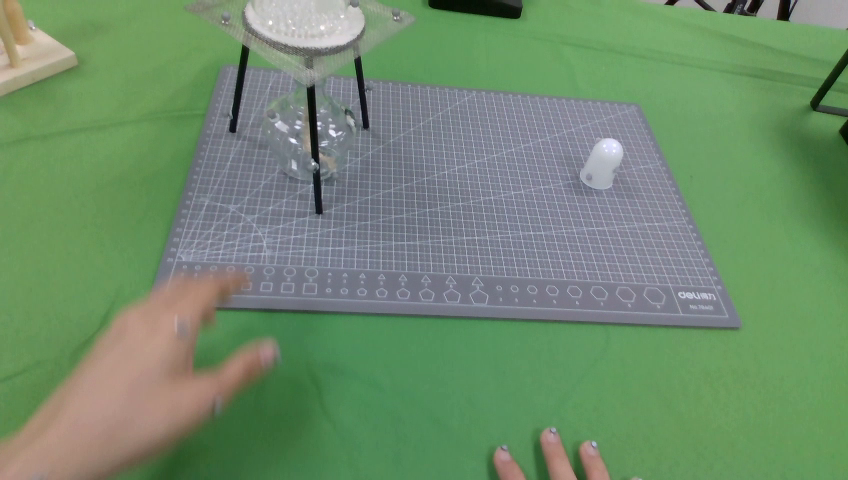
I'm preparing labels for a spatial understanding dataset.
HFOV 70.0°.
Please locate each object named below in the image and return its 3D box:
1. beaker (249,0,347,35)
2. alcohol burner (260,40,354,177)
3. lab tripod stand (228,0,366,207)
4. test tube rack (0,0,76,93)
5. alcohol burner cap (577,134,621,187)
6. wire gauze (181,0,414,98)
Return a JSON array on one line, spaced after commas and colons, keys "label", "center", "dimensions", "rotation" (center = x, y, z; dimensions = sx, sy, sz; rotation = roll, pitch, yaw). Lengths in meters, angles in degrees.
[{"label": "beaker", "center": [-0.087, -0.198, 0.408], "dimensions": [0.073, 0.101, 0.084], "rotation": [34, 53, 18]}, {"label": "alcohol burner", "center": [-0.095, -0.111, 0.497], "dimensions": [0.078, 0.120, 0.077], "rotation": [7, 47, -7]}, {"label": "lab tripod stand", "center": [-0.096, -0.122, 0.494], "dimensions": [0.149, 0.132, 0.147], "rotation": [7, 49, -7]}, {"label": "test tube rack", "center": [-0.425, -0.150, 0.490], "dimensions": [0.066, 0.086, 0.242], "rotation": [33, 51, 18]}, {"label": "alcohol burner cap", "center": [0.166, -0.076, 0.567], "dimensions": [0.034, 0.048, 0.033], "rotation": [5, 47, -5]}, {"label": "wire gauze", "center": [-0.089, -0.165, 0.445], "dimensions": [0.124, 0.011, 0.121], "rotation": [36, 55, 14]}]
